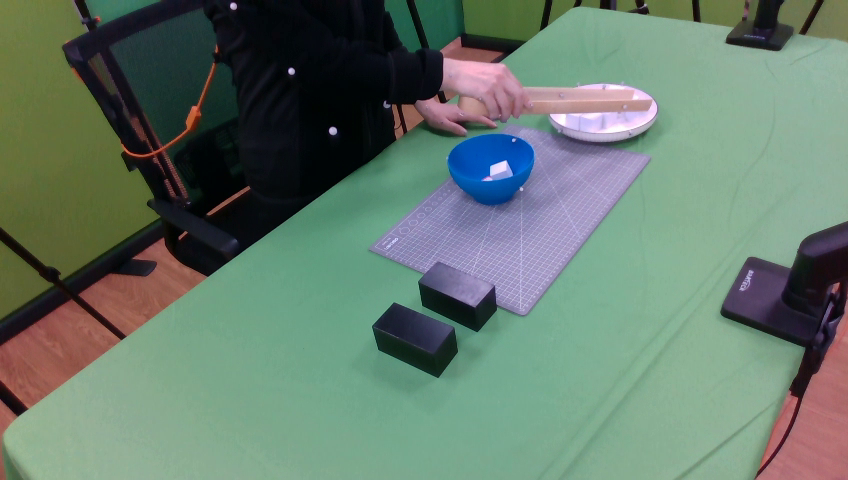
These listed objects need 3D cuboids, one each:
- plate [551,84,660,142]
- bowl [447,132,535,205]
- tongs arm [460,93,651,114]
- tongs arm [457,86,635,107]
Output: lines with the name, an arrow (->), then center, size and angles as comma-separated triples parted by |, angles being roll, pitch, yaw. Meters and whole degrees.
plate -> 0.355, -0.247, 1.195 | 0.207, 0.039, 0.206 | -5, 39, 5
bowl -> 0.119, -0.115, 1.051 | 0.151, 0.077, 0.150 | -6, 40, 5
tongs arm -> 0.244, -0.238, 1.067 | 0.390, 0.028, 0.028 | -4, 41, -23
tongs arm -> 0.233, -0.256, 1.089 | 0.387, 0.026, 0.050 | -3, 37, -21
